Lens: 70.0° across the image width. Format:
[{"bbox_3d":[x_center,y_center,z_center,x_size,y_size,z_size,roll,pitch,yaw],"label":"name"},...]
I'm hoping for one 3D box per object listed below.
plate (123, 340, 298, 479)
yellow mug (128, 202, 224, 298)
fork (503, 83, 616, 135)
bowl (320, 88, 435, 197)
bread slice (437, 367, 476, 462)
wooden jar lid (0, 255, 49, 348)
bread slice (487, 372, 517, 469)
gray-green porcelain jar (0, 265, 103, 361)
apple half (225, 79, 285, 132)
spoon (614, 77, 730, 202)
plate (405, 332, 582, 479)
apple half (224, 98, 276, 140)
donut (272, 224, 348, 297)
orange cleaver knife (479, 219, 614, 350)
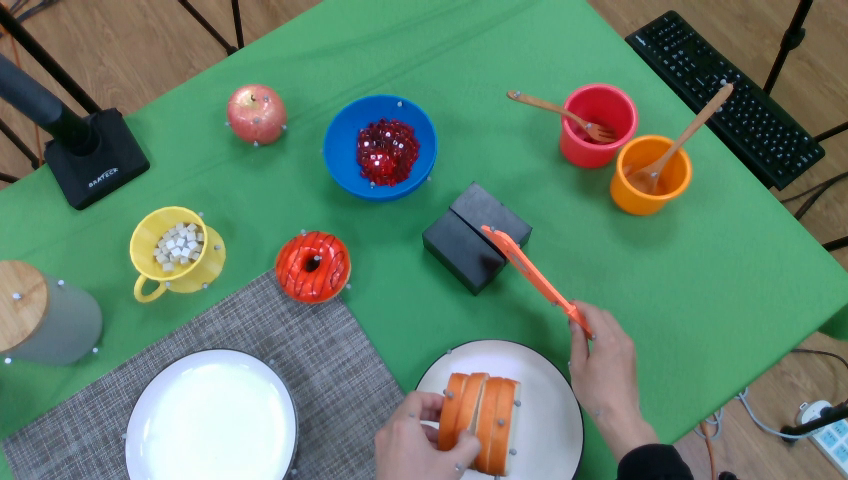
[{"bbox_3d":[-0.253,0.227,0.732,0.207,0.039,0.206,-1,72,2],"label":"plate"},{"bbox_3d":[-0.332,0.020,0.791,0.099,0.064,0.130,30,77,11],"label":"yellow mug"},{"bbox_3d":[0.181,-0.169,0.787,0.209,0.018,0.028,12,65,-38],"label":"fork"},{"bbox_3d":[-0.059,-0.119,0.818,0.151,0.077,0.150,-1,73,2],"label":"bowl"},{"bbox_3d":[0.037,0.191,0.670,0.018,0.135,0.106,5,72,13],"label":"bread slice"},{"bbox_3d":[-0.474,0.071,0.683,0.108,0.021,0.107,-1,71,4],"label":"wooden jar lid"},{"bbox_3d":[0.086,0.197,0.656,0.019,0.132,0.104,7,77,11],"label":"bread slice"},{"bbox_3d":[-0.471,0.091,0.743,0.106,0.127,0.105,-1,71,2],"label":"gray-green porcelain jar"},{"bbox_3d":[-0.230,-0.192,0.851,0.080,0.075,0.053,19,68,13],"label":"apple half"},{"bbox_3d":[0.313,-0.124,0.766,0.041,0.194,0.022,47,35,16],"label":"spoon"},{"bbox_3d":[0.081,0.216,0.725,0.209,0.038,0.208,-1,72,2],"label":"plate"},{"bbox_3d":[-0.244,-0.158,0.839,0.081,0.082,0.032,20,69,9],"label":"apple half"},{"bbox_3d":[-0.148,0.027,0.788,0.099,0.048,0.098,0,73,2],"label":"donut"},{"bbox_3d":[0.143,0.051,0.719,0.212,0.077,0.012,45,83,-8],"label":"orange cleaver knife"}]
